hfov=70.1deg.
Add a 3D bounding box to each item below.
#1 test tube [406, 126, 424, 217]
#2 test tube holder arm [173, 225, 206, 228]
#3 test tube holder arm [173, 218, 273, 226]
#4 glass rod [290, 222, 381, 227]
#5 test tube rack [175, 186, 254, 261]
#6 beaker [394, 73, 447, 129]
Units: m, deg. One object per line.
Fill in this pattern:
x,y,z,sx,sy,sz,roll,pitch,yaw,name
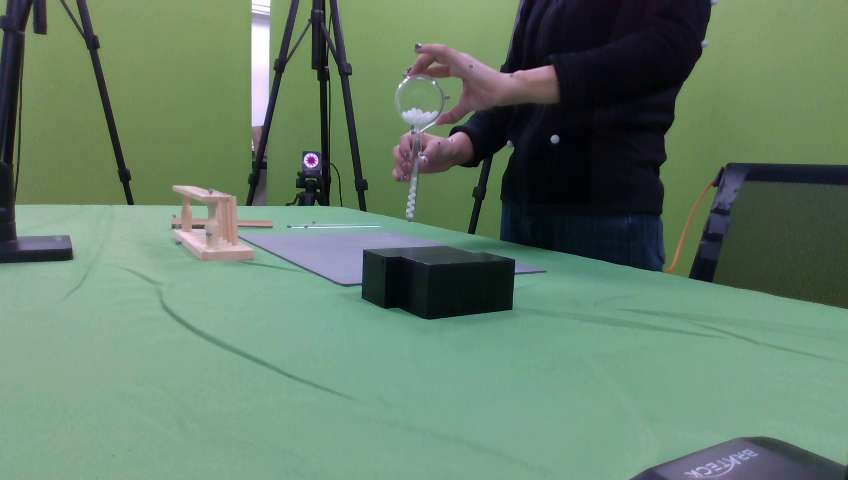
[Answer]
-0.015,-0.107,0.962,0.017,0.150,0.017,5,23,-2,test tube
-0.415,-0.030,1.113,0.088,0.015,0.010,-1,-21,-25,test tube holder arm
-0.371,-0.033,1.128,0.179,0.015,0.013,-1,-21,-25,test tube holder arm
-0.178,-0.033,1.247,0.201,0.008,0.008,-2,8,-30,glass rod
-0.314,-0.031,0.889,0.067,0.085,0.241,-2,8,-30,test tube rack
-0.005,-0.202,0.879,0.074,0.084,0.100,8,12,1,beaker
